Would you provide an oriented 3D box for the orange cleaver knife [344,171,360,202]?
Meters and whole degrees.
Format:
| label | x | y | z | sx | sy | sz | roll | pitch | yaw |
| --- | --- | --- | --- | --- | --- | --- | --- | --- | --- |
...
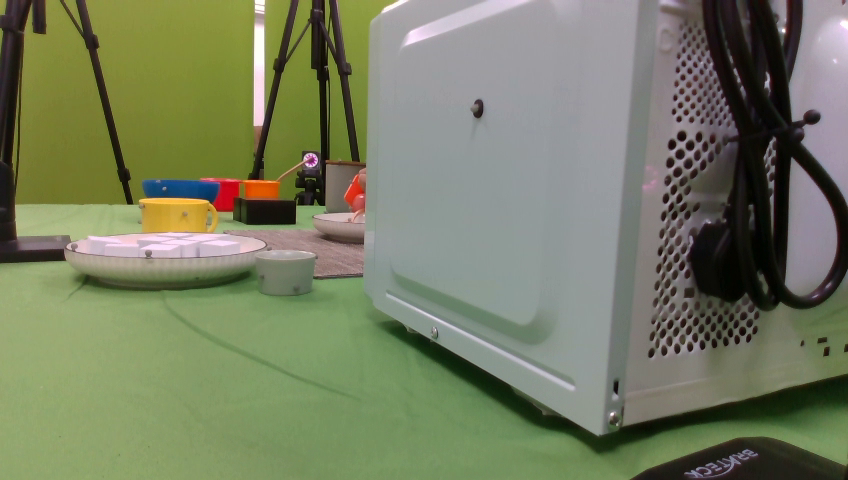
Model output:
| label | x | y | z | sx | sy | sz | roll | pitch | yaw |
| --- | --- | --- | --- | --- | --- | --- | --- | --- | --- |
| orange cleaver knife | -0.078 | -0.088 | 1.312 | 0.212 | 0.077 | 0.012 | 16 | 0 | -37 |

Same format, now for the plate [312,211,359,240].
| label | x | y | z | sx | sy | sz | roll | pitch | yaw |
| --- | --- | --- | --- | --- | --- | --- | --- | --- | --- |
| plate | -0.091 | -0.026 | 1.063 | 0.209 | 0.038 | 0.209 | 2 | 7 | 0 |

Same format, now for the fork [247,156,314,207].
| label | x | y | z | sx | sy | sz | roll | pitch | yaw |
| --- | --- | --- | --- | --- | --- | --- | --- | --- | --- |
| fork | -0.360 | -0.147 | 1.522 | 0.207 | 0.018 | 0.028 | -43 | 14 | -7 |

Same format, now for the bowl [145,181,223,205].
| label | x | y | z | sx | sy | sz | roll | pitch | yaw |
| --- | --- | --- | --- | --- | --- | --- | --- | --- | --- |
| bowl | -0.499 | -0.081 | 1.261 | 0.151 | 0.077 | 0.151 | 2 | 8 | 0 |

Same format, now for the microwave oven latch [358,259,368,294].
| label | x | y | z | sx | sy | sz | roll | pitch | yaw |
| --- | --- | --- | --- | --- | --- | --- | --- | --- | --- |
| microwave oven latch | -0.019 | 0.031 | 0.531 | 0.079 | 0.029 | 0.030 | -2 | 7 | -29 |

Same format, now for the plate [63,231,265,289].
| label | x | y | z | sx | sy | sz | roll | pitch | yaw |
| --- | --- | --- | --- | --- | --- | --- | --- | --- | --- |
| plate | -0.288 | 0.021 | 0.687 | 0.208 | 0.039 | 0.207 | 2 | 8 | 0 |

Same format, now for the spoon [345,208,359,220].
| label | x | y | z | sx | sy | sz | roll | pitch | yaw |
| --- | --- | --- | --- | --- | --- | --- | --- | --- | --- |
| spoon | -0.123 | -0.047 | 1.116 | 0.041 | 0.021 | 0.194 | -7 | 17 | 18 |

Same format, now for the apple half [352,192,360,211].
| label | x | y | z | sx | sy | sz | roll | pitch | yaw |
| --- | --- | --- | --- | --- | --- | --- | --- | --- | --- |
| apple half | -0.105 | -0.065 | 1.259 | 0.081 | 0.074 | 0.053 | 1 | 9 | -37 |

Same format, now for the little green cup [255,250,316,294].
| label | x | y | z | sx | sy | sz | roll | pitch | yaw |
| --- | --- | --- | --- | --- | --- | --- | --- | --- | --- |
| little green cup | -0.144 | 0.032 | 0.627 | 0.061 | 0.038 | 0.061 | 3 | 6 | 0 |

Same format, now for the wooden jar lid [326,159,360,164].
| label | x | y | z | sx | sy | sz | roll | pitch | yaw |
| --- | --- | --- | --- | --- | --- | --- | --- | --- | --- |
| wooden jar lid | -0.185 | -0.187 | 1.481 | 0.108 | 0.020 | 0.108 | 4 | 6 | 0 |

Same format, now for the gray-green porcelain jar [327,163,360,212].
| label | x | y | z | sx | sy | sz | roll | pitch | yaw |
| --- | --- | --- | --- | --- | --- | --- | --- | --- | --- |
| gray-green porcelain jar | -0.187 | -0.125 | 1.490 | 0.106 | 0.126 | 0.106 | 2 | 8 | 0 |

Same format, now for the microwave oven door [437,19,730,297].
| label | x | y | z | sx | sy | sz | roll | pitch | yaw |
| --- | --- | --- | --- | --- | --- | --- | --- | --- | --- |
| microwave oven door | 0.180 | -0.076 | 0.618 | 0.358 | 0.243 | 0.039 | -2 | 9 | -28 |

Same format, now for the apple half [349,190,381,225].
| label | x | y | z | sx | sy | sz | roll | pitch | yaw |
| --- | --- | --- | --- | --- | --- | --- | --- | --- | --- |
| apple half | -0.132 | -0.070 | 1.293 | 0.082 | 0.081 | 0.032 | -4 | 5 | -39 |

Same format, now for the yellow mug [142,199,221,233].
| label | x | y | z | sx | sy | sz | roll | pitch | yaw |
| --- | --- | --- | --- | --- | --- | --- | --- | --- | --- |
| yellow mug | -0.372 | -0.030 | 0.948 | 0.099 | 0.064 | 0.131 | 6 | 7 | 30 |

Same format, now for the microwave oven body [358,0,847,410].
| label | x | y | z | sx | sy | sz | roll | pitch | yaw |
| --- | --- | --- | --- | --- | --- | --- | --- | --- | --- |
| microwave oven body | 0.210 | -0.051 | 0.471 | 0.444 | 0.260 | 0.324 | -1 | 7 | -28 |
